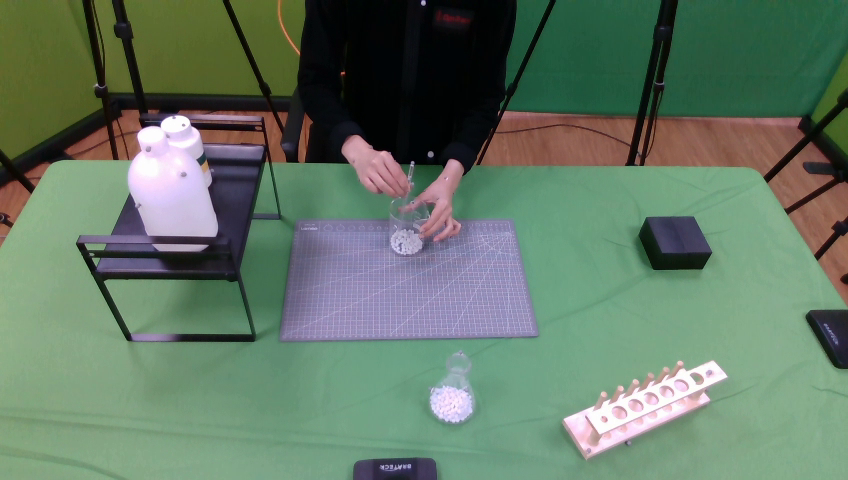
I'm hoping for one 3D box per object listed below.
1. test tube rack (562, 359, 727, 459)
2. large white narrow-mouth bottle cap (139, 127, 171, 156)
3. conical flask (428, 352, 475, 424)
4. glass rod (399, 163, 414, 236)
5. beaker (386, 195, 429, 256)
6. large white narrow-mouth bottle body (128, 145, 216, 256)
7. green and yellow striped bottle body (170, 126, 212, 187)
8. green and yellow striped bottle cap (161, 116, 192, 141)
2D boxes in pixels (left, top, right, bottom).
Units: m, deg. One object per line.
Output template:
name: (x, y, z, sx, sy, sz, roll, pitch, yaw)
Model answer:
test tube rack: (0.341, 0.247, 0.940, 0.243, 0.085, 0.066, -16, 49, -18)
large white narrow-mouth bottle cap: (-0.358, -0.132, 0.807, 0.038, 0.024, 0.037, 3, 47, -3)
conical flask: (0.046, 0.220, 0.920, 0.075, 0.122, 0.075, 2, 46, -2)
glass rod: (-0.034, -0.070, 1.121, 0.008, 0.200, 0.008, 5, 51, -6)
beaker: (-0.031, -0.024, 1.161, 0.084, 0.101, 0.073, 19, 48, 13)
large white narrow-mouth bottle body: (-0.366, -0.073, 0.872, 0.102, 0.195, 0.101, 3, 47, -3)
green and yellow striped bottle body: (-0.389, -0.139, 0.984, 0.063, 0.120, 0.063, 2, 46, -2)
green and yellow striped bottle cap: (-0.387, -0.174, 0.946, 0.045, 0.020, 0.045, 3, 44, -3)
